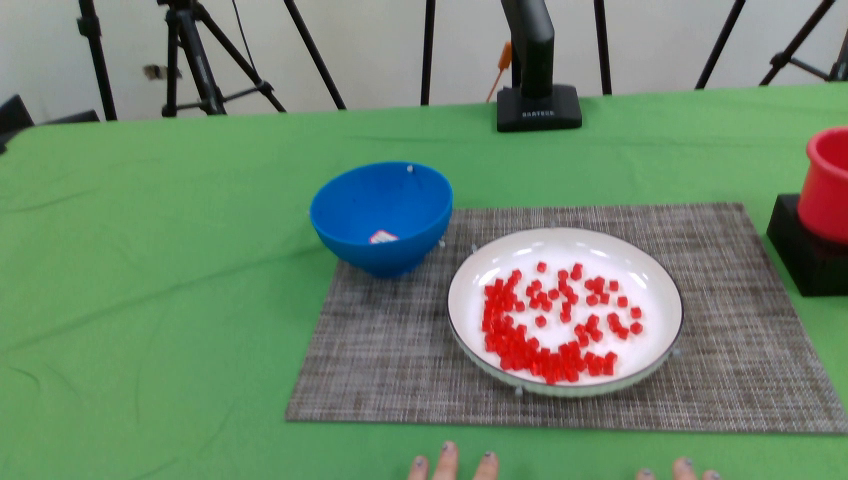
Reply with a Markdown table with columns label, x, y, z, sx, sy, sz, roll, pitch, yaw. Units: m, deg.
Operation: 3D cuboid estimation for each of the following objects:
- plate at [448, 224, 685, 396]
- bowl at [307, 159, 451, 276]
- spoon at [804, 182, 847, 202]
| label | x | y | z | sx | sy | sz | roll | pitch | yaw |
| --- | --- | --- | --- | --- | --- | --- | --- | --- | --- |
| plate | 0.127 | 0.062 | 0.559 | 0.207 | 0.039 | 0.205 | -4 | 39 | 4 |
| bowl | -0.042 | -0.014 | 0.647 | 0.151 | 0.077 | 0.150 | -4 | 39 | 4 |
| spoon | 0.407 | -0.057 | 0.501 | 0.042 | 0.193 | 0.021 | -23 | 87 | -18 |
